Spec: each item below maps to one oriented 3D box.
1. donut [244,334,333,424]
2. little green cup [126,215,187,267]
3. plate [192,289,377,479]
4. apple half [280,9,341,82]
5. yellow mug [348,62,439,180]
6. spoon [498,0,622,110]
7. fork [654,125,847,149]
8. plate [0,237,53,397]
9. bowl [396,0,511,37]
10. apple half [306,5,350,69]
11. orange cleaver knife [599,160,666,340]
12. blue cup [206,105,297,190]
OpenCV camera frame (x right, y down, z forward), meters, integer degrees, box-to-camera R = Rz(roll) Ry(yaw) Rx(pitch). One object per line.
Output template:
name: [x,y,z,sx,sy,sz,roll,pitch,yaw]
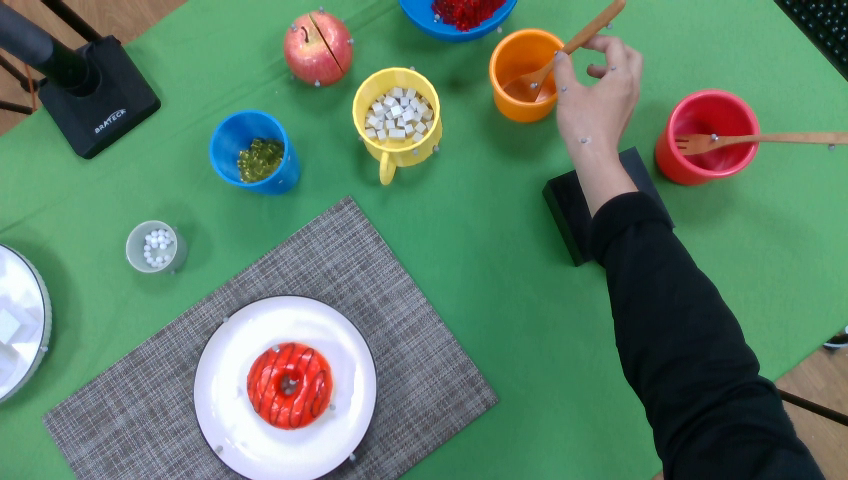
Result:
donut: [-0.151,0.155,0.676,0.099,0.048,0.099,0,84,4]
little green cup: [-0.315,0.004,0.720,0.061,0.039,0.061,0,82,4]
plate: [-0.155,0.159,0.687,0.209,0.038,0.208,0,83,3]
apple half: [-0.140,-0.224,0.722,0.053,0.075,0.080,-31,85,2]
yellow mug: [-0.037,-0.133,0.708,0.100,0.064,0.130,11,84,4]
spoon: [0.141,-0.199,0.653,0.022,0.194,0.041,-23,84,-32]
fork: [0.346,-0.112,0.644,0.206,0.019,0.028,6,66,46]
plate: [-0.538,0.094,0.721,0.207,0.039,0.207,0,83,3]
bowl: [0.037,-0.302,0.719,0.151,0.077,0.151,0,83,3]
apple half: [-0.106,-0.245,0.721,0.033,0.081,0.081,-30,81,0]
orange cleaver knife: [0.228,0.013,0.666,0.012,0.076,0.213,-21,111,3]
blue cup: [-0.188,-0.097,0.694,0.092,0.100,0.092,0,84,2]
